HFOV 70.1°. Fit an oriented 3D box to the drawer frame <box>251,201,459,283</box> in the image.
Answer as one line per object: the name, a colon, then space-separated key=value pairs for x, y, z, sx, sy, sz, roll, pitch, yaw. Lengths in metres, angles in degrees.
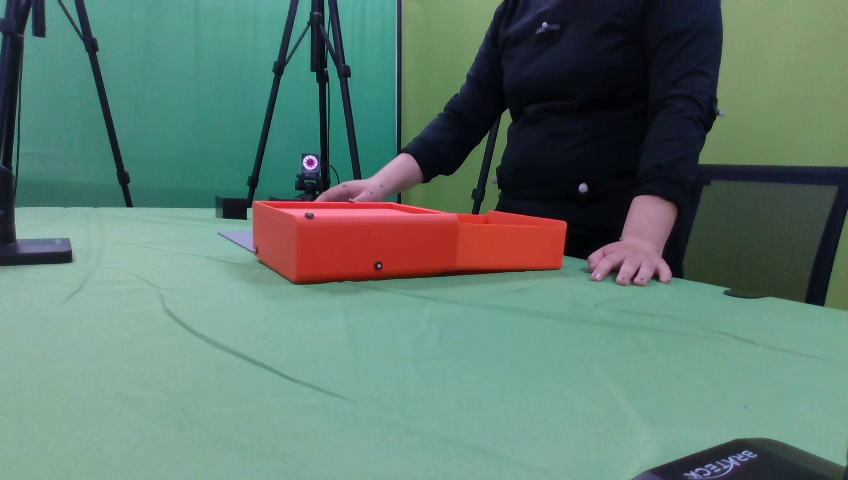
drawer frame: x=-0.095 y=-0.005 z=0.788 sx=0.215 sy=0.082 sz=0.200 roll=-3 pitch=10 yaw=-30

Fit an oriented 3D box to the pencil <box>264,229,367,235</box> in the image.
pencil: x=-0.195 y=-0.014 z=1.107 sx=0.195 sy=0.012 sz=0.012 roll=0 pitch=8 yaw=-27

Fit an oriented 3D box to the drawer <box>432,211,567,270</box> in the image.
drawer: x=0.062 y=-0.005 z=0.879 sx=0.213 sy=0.073 sz=0.193 roll=1 pitch=7 yaw=-30
